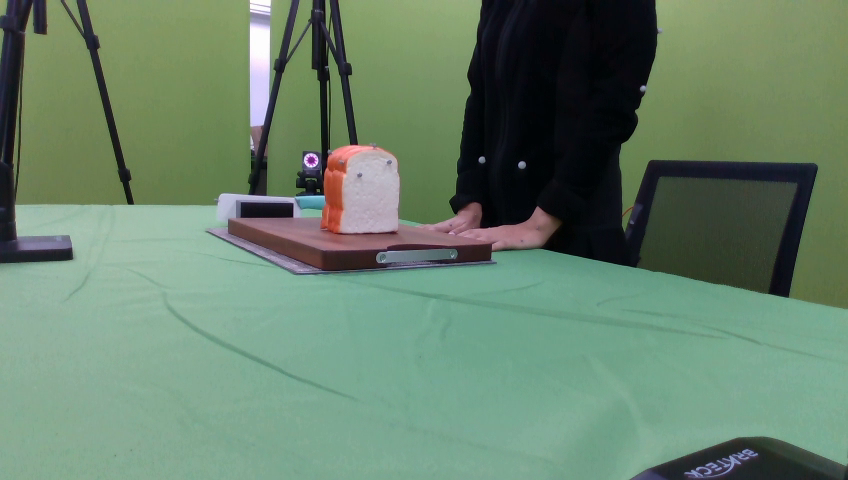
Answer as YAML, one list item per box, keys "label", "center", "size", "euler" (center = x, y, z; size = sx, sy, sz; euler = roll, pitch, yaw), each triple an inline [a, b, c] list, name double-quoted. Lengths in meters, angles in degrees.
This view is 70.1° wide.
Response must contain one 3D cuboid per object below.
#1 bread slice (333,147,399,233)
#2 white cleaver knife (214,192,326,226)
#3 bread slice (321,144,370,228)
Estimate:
- label: "bread slice"
  center: [-0.084, -0.074, 0.908]
  size: [0.105, 0.131, 0.019]
  euler: [-4, 14, -31]
- label: "white cleaver knife"
  center: [-0.278, -0.062, 1.236]
  size: [0.288, 0.066, 0.021]
  euler: [0, 13, -25]
- label: "bread slice"
  center: [-0.106, -0.083, 0.952]
  size: [0.107, 0.134, 0.018]
  euler: [2, 6, -32]
